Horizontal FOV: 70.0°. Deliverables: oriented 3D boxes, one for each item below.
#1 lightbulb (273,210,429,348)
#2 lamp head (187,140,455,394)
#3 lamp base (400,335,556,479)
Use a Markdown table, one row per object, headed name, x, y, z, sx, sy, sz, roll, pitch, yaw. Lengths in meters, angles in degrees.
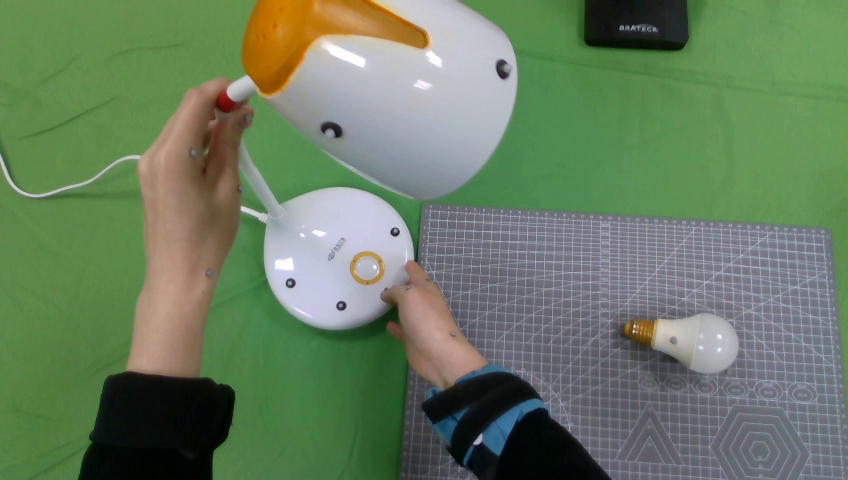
| name | x | y | z | sx | sy | sz | roll | pitch | yaw |
| --- | --- | --- | --- | --- | --- | --- | --- | --- | --- |
| lightbulb | -0.042 | 0.020 | 0.280 | 0.060 | 0.107 | 0.059 | 9 | 75 | -38 |
| lamp head | -0.059 | 0.026 | 0.300 | 0.113 | 0.123 | 0.111 | 18 | 60 | -33 |
| lamp base | 0.044 | 0.153 | 0.594 | 0.179 | 0.181 | 0.159 | 9 | 70 | 11 |
